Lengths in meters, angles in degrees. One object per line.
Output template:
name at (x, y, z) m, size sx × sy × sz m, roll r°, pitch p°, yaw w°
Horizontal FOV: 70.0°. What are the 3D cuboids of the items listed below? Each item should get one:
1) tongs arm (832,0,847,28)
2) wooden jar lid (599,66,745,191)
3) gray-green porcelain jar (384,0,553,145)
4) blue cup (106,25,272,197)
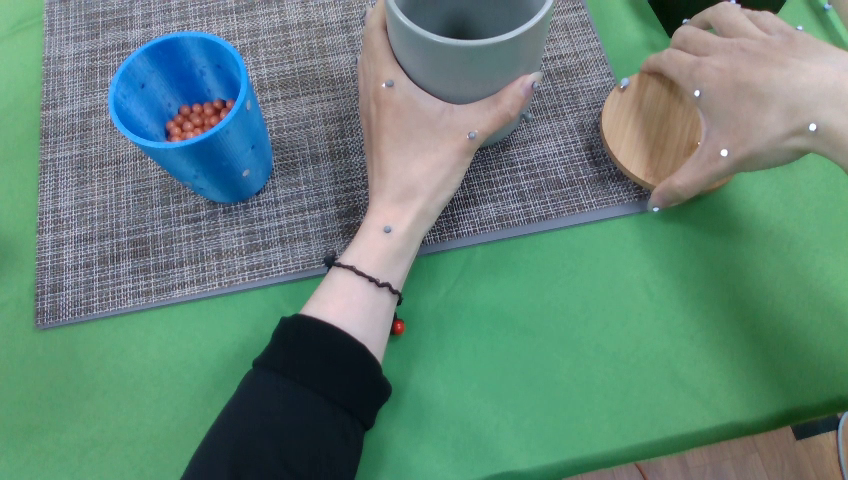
tongs arm at (0.376, -0.142, 0.472) m, size 0.051 × 0.027 × 0.381 m, roll -9°, pitch 69°, yaw -9°
wooden jar lid at (0.183, -0.082, 0.454) m, size 0.108 × 0.021 × 0.107 m, roll 1°, pitch 65°, yaw -2°
gray-green porcelain jar at (0.028, -0.135, 0.419) m, size 0.106 × 0.127 × 0.105 m, roll 0°, pitch 67°, yaw 1°
blue cup at (-0.146, -0.077, 0.410) m, size 0.092 × 0.101 × 0.092 m, roll -1°, pitch 69°, yaw 2°
